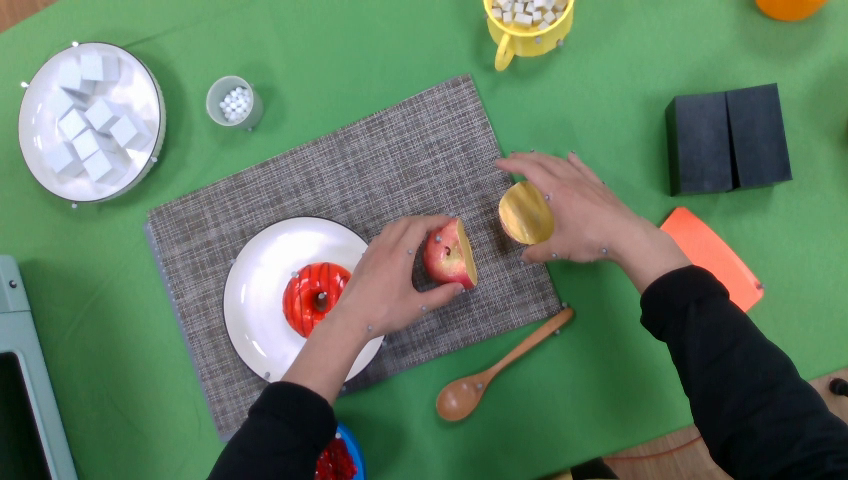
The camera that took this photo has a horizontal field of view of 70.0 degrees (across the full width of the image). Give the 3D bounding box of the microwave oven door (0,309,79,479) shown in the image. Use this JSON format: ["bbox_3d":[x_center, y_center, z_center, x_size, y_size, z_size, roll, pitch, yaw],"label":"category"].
[{"bbox_3d":[-0.494,0.256,0.664,0.039,0.244,0.355,-20,84,9],"label":"microwave oven door"}]

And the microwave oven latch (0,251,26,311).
[{"bbox_3d":[-0.544,0.054,0.783,0.030,0.029,0.079,-18,86,9],"label":"microwave oven latch"}]

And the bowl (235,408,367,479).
[{"bbox_3d":[-0.130,0.263,0.700,0.151,0.077,0.151,0,88,10],"label":"bowl"}]

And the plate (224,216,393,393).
[{"bbox_3d":[-0.136,0.075,0.724,0.209,0.038,0.209,0,88,10],"label":"plate"}]

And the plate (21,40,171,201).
[{"bbox_3d":[-0.419,-0.152,0.786,0.207,0.039,0.207,0,88,10],"label":"plate"}]

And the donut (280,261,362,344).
[{"bbox_3d":[-0.120,0.073,0.710,0.099,0.048,0.099,0,90,10],"label":"donut"}]

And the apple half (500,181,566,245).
[{"bbox_3d":[0.116,-0.025,0.681,0.081,0.033,0.080,7,66,-15],"label":"apple half"}]

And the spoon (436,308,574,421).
[{"bbox_3d":[0.094,0.140,0.692,0.194,0.022,0.041,-40,65,7],"label":"spoon"}]

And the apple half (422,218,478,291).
[{"bbox_3d":[0.026,0.020,0.679,0.053,0.075,0.080,-15,88,14],"label":"apple half"}]

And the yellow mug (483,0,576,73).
[{"bbox_3d":[0.112,-0.249,0.679,0.099,0.064,0.131,26,94,10],"label":"yellow mug"}]

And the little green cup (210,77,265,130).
[{"bbox_3d":[-0.229,-0.167,0.752,0.061,0.039,0.061,0,88,11],"label":"little green cup"}]

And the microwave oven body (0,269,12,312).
[{"bbox_3d":[-0.643,0.265,0.696,0.326,0.261,0.440,-20,85,8],"label":"microwave oven body"}]

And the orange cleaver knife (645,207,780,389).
[{"bbox_3d":[0.325,0.060,0.655,0.077,0.012,0.210,-37,81,3],"label":"orange cleaver knife"}]
